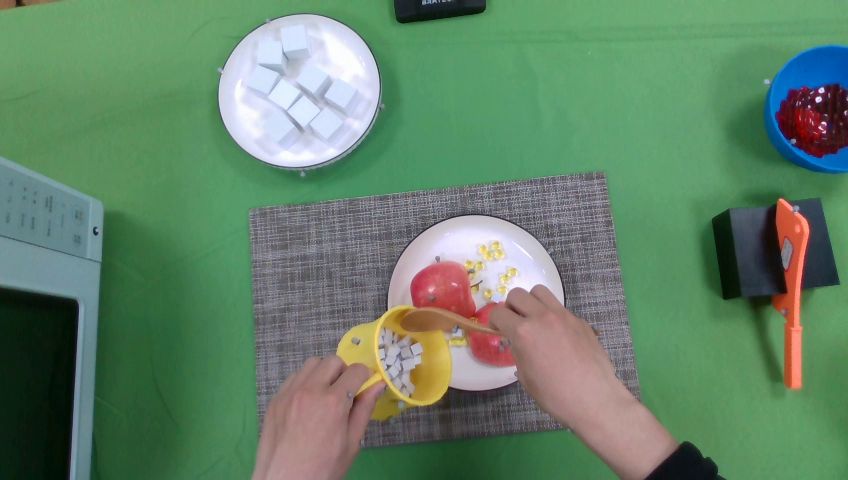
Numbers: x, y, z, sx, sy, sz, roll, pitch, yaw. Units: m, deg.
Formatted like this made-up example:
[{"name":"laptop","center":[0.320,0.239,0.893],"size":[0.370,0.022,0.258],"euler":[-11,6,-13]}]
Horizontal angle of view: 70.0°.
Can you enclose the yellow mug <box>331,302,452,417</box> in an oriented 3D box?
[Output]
[{"name":"yellow mug","center":[-0.039,0.124,0.591],"size":[0.064,0.131,0.100],"euler":[-30,89,41]}]

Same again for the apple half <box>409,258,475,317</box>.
[{"name":"apple half","center":[0.019,0.060,0.702],"size":[0.074,0.053,0.080],"euler":[-8,80,4]}]

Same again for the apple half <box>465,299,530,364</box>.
[{"name":"apple half","center":[0.085,0.106,0.700],"size":[0.081,0.033,0.081],"euler":[-1,77,4]}]

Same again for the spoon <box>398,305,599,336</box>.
[{"name":"spoon","center":[0.066,0.081,0.573],"size":[0.193,0.042,0.021],"euler":[3,50,24]}]

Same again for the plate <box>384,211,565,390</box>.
[{"name":"plate","center":[0.058,0.070,0.714],"size":[0.209,0.038,0.208],"euler":[0,81,3]}]

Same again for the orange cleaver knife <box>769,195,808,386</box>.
[{"name":"orange cleaver knife","center":[0.404,0.057,0.676],"size":[0.012,0.077,0.212],"euler":[-5,103,7]}]

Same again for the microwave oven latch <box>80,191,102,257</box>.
[{"name":"microwave oven latch","center":[-0.416,-0.019,0.742],"size":[0.030,0.029,0.079],"euler":[-1,81,3]}]

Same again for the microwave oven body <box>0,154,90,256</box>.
[{"name":"microwave oven body","center":[-0.562,0.144,0.624],"size":[0.326,0.261,0.440],"euler":[-3,80,2]}]

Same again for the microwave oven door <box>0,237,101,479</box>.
[{"name":"microwave oven door","center":[-0.416,0.178,0.605],"size":[0.039,0.245,0.354],"euler":[-3,79,3]}]

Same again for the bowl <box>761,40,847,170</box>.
[{"name":"bowl","center":[0.462,-0.146,0.711],"size":[0.151,0.077,0.151],"euler":[-1,80,4]}]

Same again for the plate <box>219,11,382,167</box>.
[{"name":"plate","center":[-0.155,-0.190,0.776],"size":[0.207,0.039,0.207],"euler":[-1,80,3]}]
